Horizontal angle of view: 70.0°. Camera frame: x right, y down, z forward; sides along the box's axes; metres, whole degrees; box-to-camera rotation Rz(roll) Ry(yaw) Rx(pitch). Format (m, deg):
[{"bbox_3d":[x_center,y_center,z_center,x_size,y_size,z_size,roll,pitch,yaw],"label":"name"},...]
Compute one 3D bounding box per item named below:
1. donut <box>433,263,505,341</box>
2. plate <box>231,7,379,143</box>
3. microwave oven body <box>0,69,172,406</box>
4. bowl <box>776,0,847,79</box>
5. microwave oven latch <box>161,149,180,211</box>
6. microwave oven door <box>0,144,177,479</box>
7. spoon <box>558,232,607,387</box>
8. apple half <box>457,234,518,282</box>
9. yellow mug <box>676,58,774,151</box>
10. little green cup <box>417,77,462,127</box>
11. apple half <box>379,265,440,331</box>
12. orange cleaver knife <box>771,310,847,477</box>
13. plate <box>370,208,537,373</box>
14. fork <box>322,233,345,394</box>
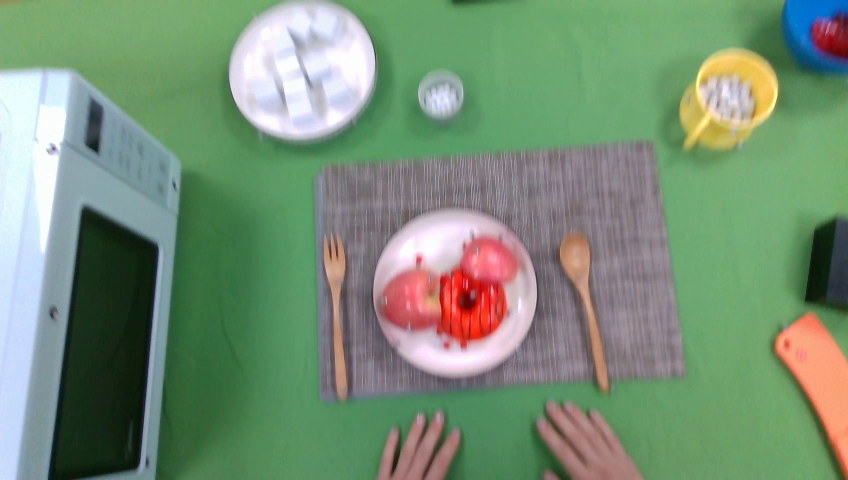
[{"bbox_3d":[0.051,0.075,0.748,0.099,0.048,0.098,-1,78,5],"label":"donut"},{"bbox_3d":[-0.165,-0.230,0.857,0.207,0.039,0.206,-1,76,4],"label":"plate"},{"bbox_3d":[-0.500,0.071,0.687,0.326,0.261,0.439,-2,76,3],"label":"microwave oven body"},{"bbox_3d":[0.529,-0.269,0.794,0.151,0.077,0.150,-1,77,5],"label":"bowl"},{"bbox_3d":[-0.347,-0.080,0.813,0.030,0.029,0.079,0,76,4],"label":"microwave oven latch"},{"bbox_3d":[-0.355,0.106,0.662,0.039,0.245,0.354,-2,75,4],"label":"microwave oven door"},{"bbox_3d":[0.201,0.085,0.753,0.042,0.021,0.192,-4,74,-20],"label":"spoon"},{"bbox_3d":[0.083,0.016,0.745,0.081,0.033,0.080,10,37,-7],"label":"apple half"},{"bbox_3d":[0.377,-0.164,0.785,0.099,0.064,0.131,43,84,13],"label":"yellow mug"},{"bbox_3d":[0.023,-0.187,0.832,0.061,0.039,0.061,-1,75,5],"label":"little green cup"},{"bbox_3d":[-0.023,0.068,0.735,0.074,0.054,0.080,-14,69,43],"label":"apple half"},{"bbox_3d":[0.483,0.187,0.711,0.077,0.012,0.210,-18,74,-6],"label":"orange cleaver knife"},{"bbox_3d":[0.037,0.063,0.764,0.209,0.038,0.208,-1,76,5],"label":"plate"},{"bbox_3d":[-0.114,0.092,0.777,0.028,0.019,0.206,-5,73,-3],"label":"fork"}]
